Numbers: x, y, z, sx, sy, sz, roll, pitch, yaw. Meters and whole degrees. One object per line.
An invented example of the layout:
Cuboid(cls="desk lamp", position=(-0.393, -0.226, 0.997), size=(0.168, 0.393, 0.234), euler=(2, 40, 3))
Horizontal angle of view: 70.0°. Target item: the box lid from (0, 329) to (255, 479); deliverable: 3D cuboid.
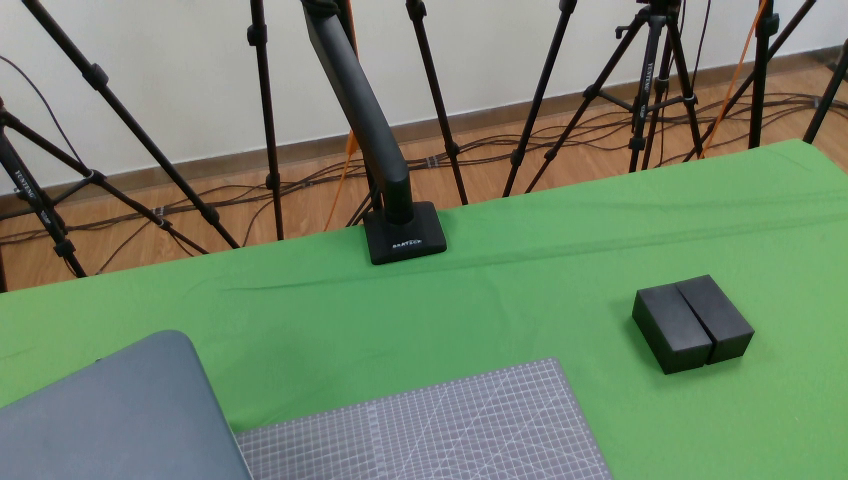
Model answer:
Cuboid(cls="box lid", position=(-0.344, 0.239, 0.520), size=(0.372, 0.015, 0.260), euler=(-27, 49, -20))

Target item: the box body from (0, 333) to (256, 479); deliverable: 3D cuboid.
Cuboid(cls="box body", position=(-0.340, 0.293, 0.572), size=(0.364, 0.162, 0.251), euler=(-27, 48, -20))
